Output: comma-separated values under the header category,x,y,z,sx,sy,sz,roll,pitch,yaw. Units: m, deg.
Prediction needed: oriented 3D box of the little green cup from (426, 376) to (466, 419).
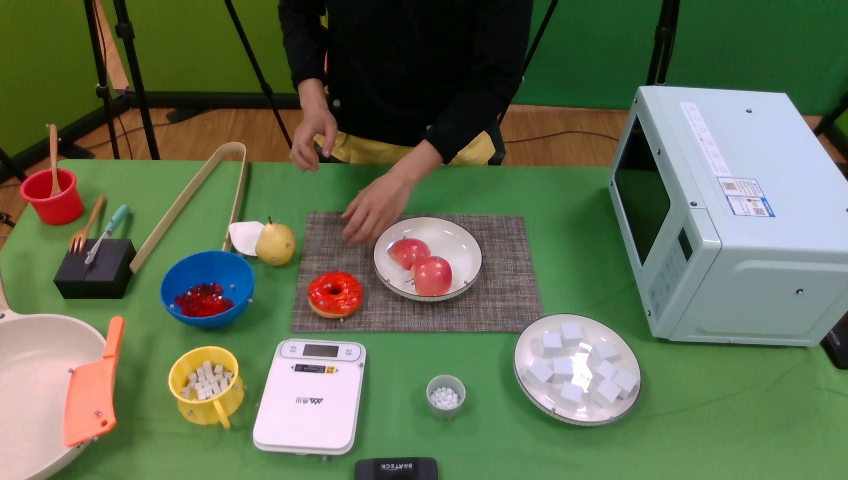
category,x,y,z,sx,sy,sz,roll,pitch,yaw
little green cup,0.033,0.248,0.950,0.061,0.039,0.061,2,46,-2

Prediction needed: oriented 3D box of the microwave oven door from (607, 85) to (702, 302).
category,x,y,z,sx,sy,sz,roll,pitch,yaw
microwave oven door,0.423,-0.094,1.140,0.039,0.245,0.353,2,46,-1

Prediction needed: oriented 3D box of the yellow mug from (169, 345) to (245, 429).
category,x,y,z,sx,sy,sz,roll,pitch,yaw
yellow mug,-0.323,0.230,0.922,0.100,0.064,0.130,-24,53,-25

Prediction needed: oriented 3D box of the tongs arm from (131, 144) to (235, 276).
category,x,y,z,sx,sy,sz,roll,pitch,yaw
tongs arm,-0.484,-0.075,1.236,0.028,0.028,0.385,5,45,14

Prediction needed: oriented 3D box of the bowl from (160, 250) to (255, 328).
category,x,y,z,sx,sy,sz,roll,pitch,yaw
bowl,-0.362,0.098,1.040,0.151,0.077,0.150,2,45,-2

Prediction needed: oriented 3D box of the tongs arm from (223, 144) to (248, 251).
category,x,y,z,sx,sy,sz,roll,pitch,yaw
tongs arm,-0.398,-0.072,1.232,0.051,0.027,0.382,-3,45,1

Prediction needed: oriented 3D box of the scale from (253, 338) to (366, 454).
category,x,y,z,sx,sy,sz,roll,pitch,yaw
scale,-0.175,0.236,0.951,0.149,0.032,0.199,5,45,-1

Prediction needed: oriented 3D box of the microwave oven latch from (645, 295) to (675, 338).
category,x,y,z,sx,sy,sz,roll,pitch,yaw
microwave oven latch,0.411,0.134,1.061,0.030,0.029,0.078,3,45,0

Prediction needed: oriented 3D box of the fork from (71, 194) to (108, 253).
category,x,y,z,sx,sy,sz,roll,pitch,yaw
fork,-0.634,-0.036,1.158,0.028,0.019,0.206,-8,31,-8

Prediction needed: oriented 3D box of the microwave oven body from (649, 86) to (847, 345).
category,x,y,z,sx,sy,sz,roll,pitch,yaw
microwave oven body,0.567,-0.053,1.118,0.326,0.261,0.439,2,45,-1

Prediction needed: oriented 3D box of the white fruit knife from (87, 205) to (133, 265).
category,x,y,z,sx,sy,sz,roll,pitch,yaw
white fruit knife,-0.584,-0.013,1.129,0.016,0.027,0.206,-1,32,-4

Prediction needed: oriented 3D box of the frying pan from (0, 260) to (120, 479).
category,x,y,z,sx,sy,sz,roll,pitch,yaw
frying pan,-0.647,0.164,0.936,0.307,0.103,0.485,-19,58,-22

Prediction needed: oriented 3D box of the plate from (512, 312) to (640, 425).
category,x,y,z,sx,sy,sz,roll,pitch,yaw
plate,0.246,0.213,0.999,0.208,0.039,0.206,2,46,-2

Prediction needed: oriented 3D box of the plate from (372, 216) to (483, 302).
category,x,y,z,sx,sy,sz,roll,pitch,yaw
plate,0.006,0.038,1.145,0.209,0.038,0.208,2,46,-2

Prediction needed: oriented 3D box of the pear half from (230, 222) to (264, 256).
category,x,y,z,sx,sy,sz,roll,pitch,yaw
pear half,-0.333,0.000,1.167,0.088,0.031,0.070,30,52,5

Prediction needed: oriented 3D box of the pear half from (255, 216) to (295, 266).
category,x,y,z,sx,sy,sz,roll,pitch,yaw
pear half,-0.270,0.001,1.117,0.056,0.110,0.076,25,53,18

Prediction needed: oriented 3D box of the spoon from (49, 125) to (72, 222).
category,x,y,z,sx,sy,sz,roll,pitch,yaw
spoon,-0.718,-0.131,1.189,0.041,0.021,0.193,-4,90,-6

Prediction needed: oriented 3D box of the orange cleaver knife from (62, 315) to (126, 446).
category,x,y,z,sx,sy,sz,roll,pitch,yaw
orange cleaver knife,-0.480,0.199,0.887,0.077,0.012,0.210,-9,47,-8

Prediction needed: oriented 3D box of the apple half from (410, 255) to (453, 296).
category,x,y,z,sx,sy,sz,roll,pitch,yaw
apple half,0.015,0.058,1.103,0.075,0.053,0.080,-3,43,-9

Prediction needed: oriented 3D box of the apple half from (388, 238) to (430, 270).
category,x,y,z,sx,sy,sz,roll,pitch,yaw
apple half,-0.026,0.016,1.158,0.081,0.033,0.081,3,46,-3

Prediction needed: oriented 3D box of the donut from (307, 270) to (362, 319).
category,x,y,z,sx,sy,sz,roll,pitch,yaw
donut,-0.158,0.097,1.073,0.099,0.048,0.098,4,45,-4
